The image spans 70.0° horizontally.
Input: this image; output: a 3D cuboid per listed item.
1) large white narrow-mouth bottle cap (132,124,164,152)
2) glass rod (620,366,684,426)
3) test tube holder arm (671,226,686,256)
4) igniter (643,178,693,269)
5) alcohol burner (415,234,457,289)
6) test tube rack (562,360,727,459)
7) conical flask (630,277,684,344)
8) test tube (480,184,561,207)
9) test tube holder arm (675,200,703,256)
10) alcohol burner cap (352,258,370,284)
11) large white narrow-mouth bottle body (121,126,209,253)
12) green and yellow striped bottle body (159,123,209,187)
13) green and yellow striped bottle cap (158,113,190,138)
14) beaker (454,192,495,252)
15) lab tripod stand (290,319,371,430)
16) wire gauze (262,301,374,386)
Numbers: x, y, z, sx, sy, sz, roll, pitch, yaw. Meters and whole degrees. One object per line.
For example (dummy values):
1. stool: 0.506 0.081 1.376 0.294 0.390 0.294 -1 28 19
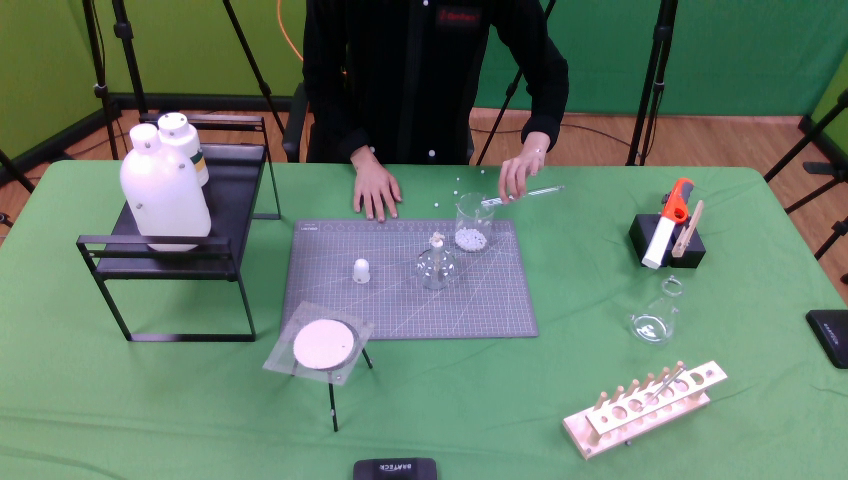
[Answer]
1. large white narrow-mouth bottle cap: -0.370 -0.137 0.813 0.038 0.024 0.037 3 46 -3
2. glass rod: 0.322 0.227 0.866 0.008 0.200 0.008 5 51 -7
3. test tube holder arm: 0.494 0.001 1.167 0.010 0.015 0.087 1 36 42
4. igniter: 0.488 -0.042 1.205 0.057 0.025 0.276 30 51 11
5. alcohol burner: 0.022 0.033 1.100 0.078 0.120 0.077 1 47 -1
6. test tube rack: 0.341 0.247 0.940 0.243 0.085 0.066 -16 49 -18
7. conical flask: 0.408 0.117 1.045 0.075 0.122 0.075 2 46 -2
8. test tube: 0.177 -0.082 1.115 0.150 0.017 0.017 -11 43 18
9. test tube holder arm: 0.523 -0.025 1.190 0.013 0.015 0.178 1 36 42
10. alcohol burner cap: -0.117 0.055 1.118 0.034 0.048 0.033 2 46 -2
11. large white narrow-mouth bottle body: -0.378 -0.077 0.875 0.102 0.195 0.101 3 46 -3
12. green and yellow striped bottle body: -0.395 -0.145 0.989 0.063 0.120 0.063 2 46 -2
13. green and yellow striped bottle cap: -0.393 -0.180 0.951 0.045 0.020 0.045 2 44 -2
14. beaker: 0.097 -0.034 1.180 0.074 0.101 0.084 23 49 17
15. lab tripod stand: -0.146 0.194 0.923 0.148 0.132 0.147 1 47 -1
16. wire gauze: -0.150 0.148 0.873 0.121 0.011 0.124 14 46 12
